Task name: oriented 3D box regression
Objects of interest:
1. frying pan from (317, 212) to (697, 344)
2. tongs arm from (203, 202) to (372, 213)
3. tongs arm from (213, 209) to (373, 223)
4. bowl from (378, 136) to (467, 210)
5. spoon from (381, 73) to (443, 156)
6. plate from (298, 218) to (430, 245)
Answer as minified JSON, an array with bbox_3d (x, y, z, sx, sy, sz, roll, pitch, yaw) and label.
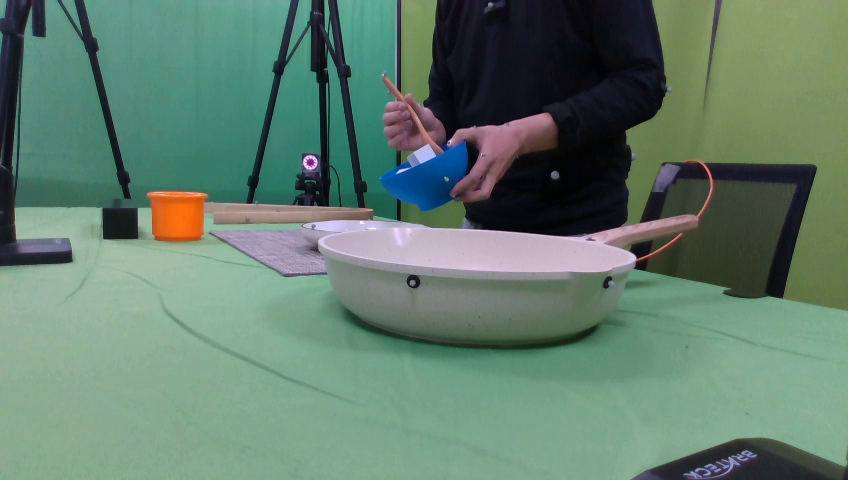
[{"bbox_3d":[0.133,0.013,0.629,0.490,0.102,0.305,-12,14,-31],"label":"frying pan"},{"bbox_3d":[-0.312,-0.068,1.418,0.387,0.026,0.050,1,8,-24],"label":"tongs arm"},{"bbox_3d":[-0.274,-0.054,1.347,0.390,0.028,0.028,-3,6,-37],"label":"tongs arm"},{"bbox_3d":[0.010,-0.099,0.967,0.151,0.077,0.151,-24,12,6],"label":"bowl"},{"bbox_3d":[-0.017,-0.203,1.008,0.022,0.193,0.041,-27,-13,-19],"label":"spoon"},{"bbox_3d":[-0.091,-0.006,0.949,0.208,0.039,0.207,2,7,0],"label":"plate"}]
